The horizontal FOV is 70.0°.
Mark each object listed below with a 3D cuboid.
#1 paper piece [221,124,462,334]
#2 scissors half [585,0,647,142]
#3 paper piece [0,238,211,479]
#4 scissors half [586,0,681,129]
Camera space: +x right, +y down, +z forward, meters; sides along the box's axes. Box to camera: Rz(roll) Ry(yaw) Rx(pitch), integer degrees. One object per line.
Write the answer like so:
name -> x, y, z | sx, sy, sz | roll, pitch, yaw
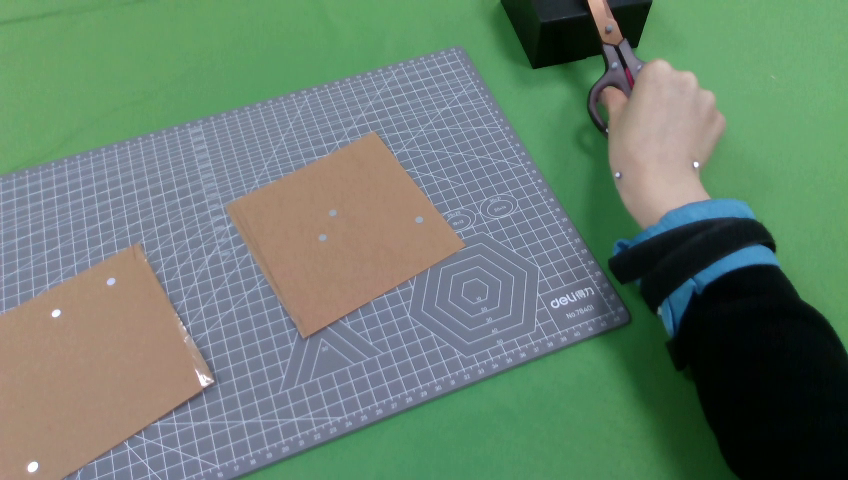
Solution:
paper piece -> -0.064, -0.016, 0.452 | 0.136, 0.004, 0.134 | -29, 63, -15
scissors half -> 0.144, -0.159, 0.496 | 0.040, 0.013, 0.174 | -15, 75, 21
paper piece -> -0.229, 0.077, 0.399 | 0.138, 0.009, 0.134 | -32, 59, -15
scissors half -> 0.160, -0.167, 0.489 | 0.040, 0.013, 0.174 | -30, 70, 23
